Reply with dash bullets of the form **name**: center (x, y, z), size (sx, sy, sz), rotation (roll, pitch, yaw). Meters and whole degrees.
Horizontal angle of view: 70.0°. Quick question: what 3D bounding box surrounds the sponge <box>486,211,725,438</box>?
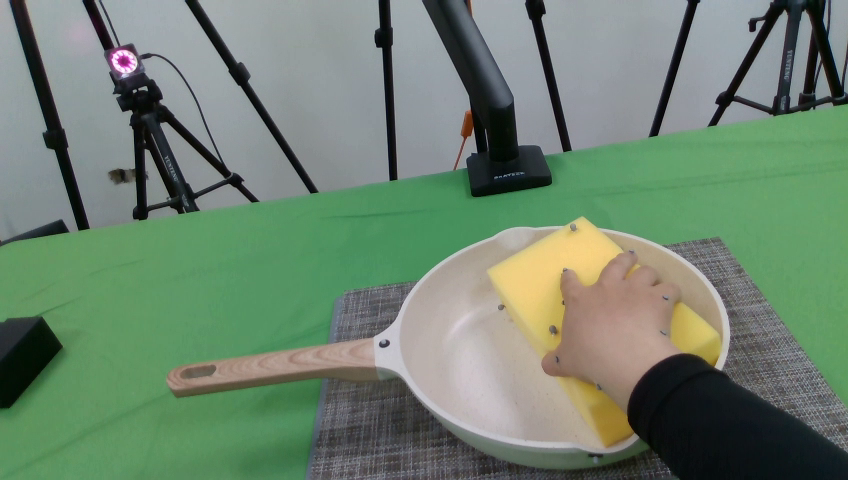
- **sponge**: center (0.156, 0.066, 0.562), size (0.118, 0.061, 0.204), rotation (-31, 34, -2)

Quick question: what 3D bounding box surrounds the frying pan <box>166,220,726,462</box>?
- **frying pan**: center (0.015, 0.094, 0.558), size (0.488, 0.103, 0.303), rotation (-5, 32, -4)
